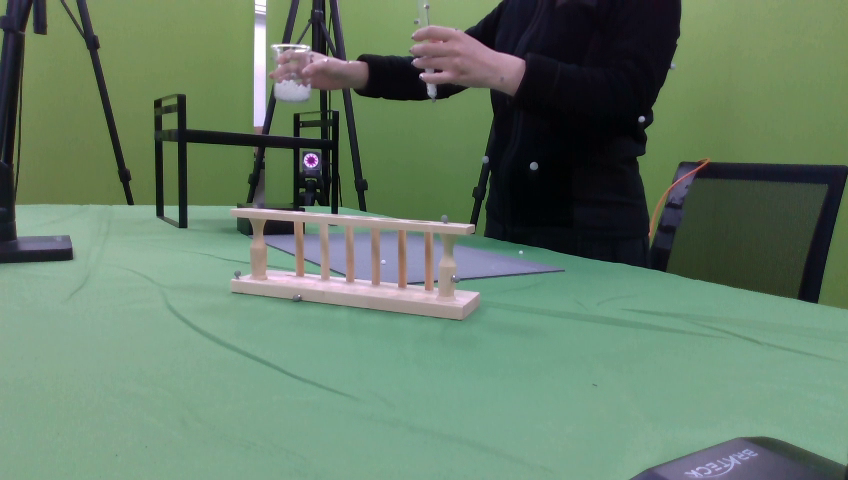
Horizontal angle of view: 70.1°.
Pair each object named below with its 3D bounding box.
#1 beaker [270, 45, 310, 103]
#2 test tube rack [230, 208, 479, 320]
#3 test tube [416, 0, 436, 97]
[{"bbox_3d":[-0.259,-0.321,1.173,0.074,0.100,0.084,1,25,-4],"label":"beaker"},{"bbox_3d":[-0.069,0.017,0.598,0.242,0.085,0.067,5,8,18],"label":"test tube rack"},{"bbox_3d":[0.003,-0.293,0.915,0.017,0.150,0.017,-6,13,2],"label":"test tube"}]
